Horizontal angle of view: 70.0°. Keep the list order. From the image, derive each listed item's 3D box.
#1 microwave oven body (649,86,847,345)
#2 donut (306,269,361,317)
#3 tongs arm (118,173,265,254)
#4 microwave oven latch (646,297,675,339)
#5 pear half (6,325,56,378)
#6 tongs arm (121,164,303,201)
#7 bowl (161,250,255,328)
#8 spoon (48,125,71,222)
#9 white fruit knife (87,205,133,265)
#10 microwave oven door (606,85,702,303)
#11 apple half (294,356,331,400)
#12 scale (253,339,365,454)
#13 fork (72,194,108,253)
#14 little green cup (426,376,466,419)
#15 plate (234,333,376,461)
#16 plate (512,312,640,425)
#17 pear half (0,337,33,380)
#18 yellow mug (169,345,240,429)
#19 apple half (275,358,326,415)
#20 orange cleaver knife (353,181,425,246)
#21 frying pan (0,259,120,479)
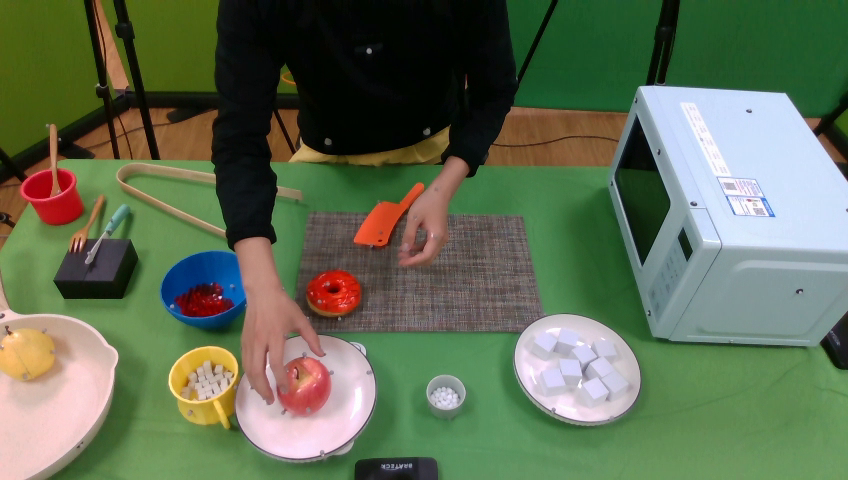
[{"bbox_3d":[0.567,-0.053,1.118,0.326,0.261,0.439,2,45,-1],"label":"microwave oven body"},{"bbox_3d":[-0.160,0.094,1.075,0.099,0.048,0.098,4,46,-4],"label":"donut"},{"bbox_3d":[-0.473,-0.054,1.212,0.386,0.028,0.028,23,57,18],"label":"tongs arm"},{"bbox_3d":[0.412,0.134,1.061,0.030,0.029,0.078,4,45,1],"label":"microwave oven latch"},{"bbox_3d":[-0.608,0.158,0.935,0.076,0.110,0.056,31,51,20],"label":"pear half"},{"bbox_3d":[-0.444,-0.114,1.267,0.384,0.026,0.050,12,51,8],"label":"tongs arm"},{"bbox_3d":[-0.362,0.098,1.040,0.151,0.077,0.150,2,45,-2],"label":"bowl"},{"bbox_3d":[-0.718,-0.131,1.188,0.042,0.021,0.193,-3,90,-7],"label":"spoon"},{"bbox_3d":[-0.584,-0.013,1.129,0.016,0.027,0.206,0,31,-5],"label":"white fruit knife"},{"bbox_3d":[0.422,-0.094,1.140,0.039,0.245,0.353,2,46,-1],"label":"microwave oven door"},{"bbox_3d":[-0.159,0.201,0.902,0.081,0.082,0.033,36,58,27],"label":"apple half"},{"bbox_3d":[-0.175,0.236,0.951,0.149,0.032,0.199,4,46,0],"label":"scale"},{"bbox_3d":[-0.634,-0.036,1.158,0.028,0.019,0.206,-7,32,-8],"label":"fork"},{"bbox_3d":[0.033,0.248,0.950,0.061,0.039,0.061,2,46,-2],"label":"little green cup"},{"bbox_3d":[-0.174,0.235,0.907,0.209,0.038,0.208,2,46,-2],"label":"plate"},{"bbox_3d":[0.246,0.213,0.999,0.208,0.039,0.206,2,46,-2],"label":"plate"},{"bbox_3d":[-0.631,0.184,0.921,0.070,0.088,0.031,29,49,19],"label":"pear half"},{"bbox_3d":[-0.323,0.230,0.922,0.100,0.064,0.130,-24,53,-26],"label":"yellow mug"},{"bbox_3d":[-0.186,0.221,0.882,0.080,0.075,0.053,38,58,25],"label":"apple half"},{"bbox_3d":[-0.069,-0.059,1.245,0.077,0.012,0.210,18,50,21],"label":"orange cleaver knife"},{"bbox_3d":[-0.647,0.164,0.936,0.307,0.103,0.485,-19,58,-22],"label":"frying pan"}]
